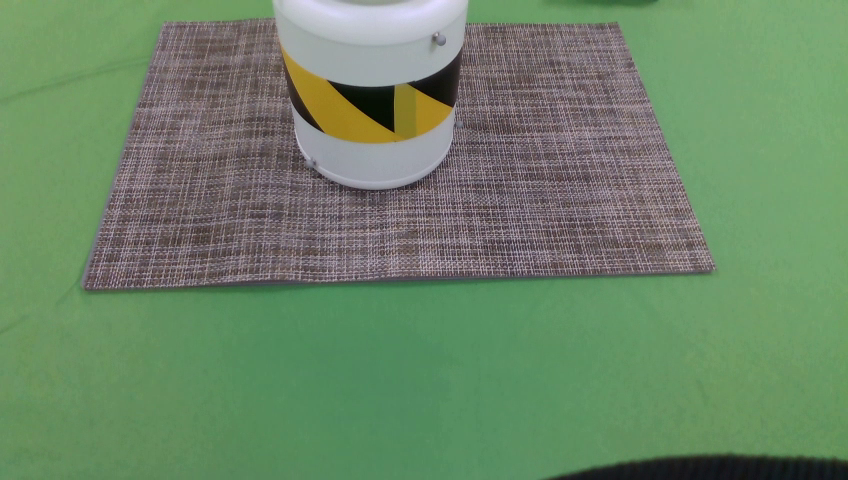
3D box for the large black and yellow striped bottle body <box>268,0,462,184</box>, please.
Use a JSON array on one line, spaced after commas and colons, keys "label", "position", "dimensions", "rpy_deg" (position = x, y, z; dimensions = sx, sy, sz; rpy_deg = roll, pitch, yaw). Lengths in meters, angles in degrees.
[{"label": "large black and yellow striped bottle body", "position": [-0.040, -0.144, 0.433], "dimensions": [0.131, 0.185, 0.129], "rpy_deg": [2, 55, -2]}]
